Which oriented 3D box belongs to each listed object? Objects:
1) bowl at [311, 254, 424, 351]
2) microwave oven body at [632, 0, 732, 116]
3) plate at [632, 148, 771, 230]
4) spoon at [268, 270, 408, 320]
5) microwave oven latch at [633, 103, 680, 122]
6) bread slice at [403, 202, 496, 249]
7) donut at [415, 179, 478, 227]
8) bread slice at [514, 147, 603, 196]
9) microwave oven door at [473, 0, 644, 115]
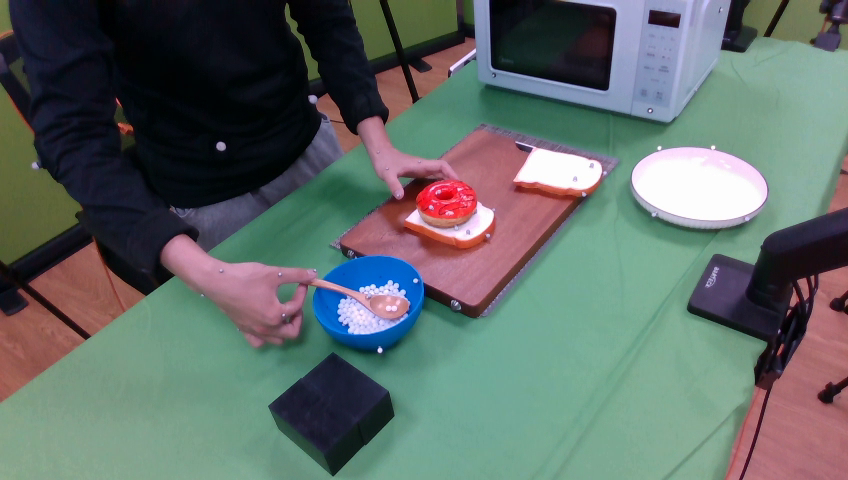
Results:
[{"bbox_3d":[-0.071,0.098,0.821,0.151,0.077,0.150,-4,40,4],"label":"bowl"},{"bbox_3d":[0.377,-0.462,1.267,0.438,0.261,0.327,21,49,30],"label":"microwave oven body"},{"bbox_3d":[0.447,-0.081,0.988,0.207,0.039,0.206,-4,40,4],"label":"plate"},{"bbox_3d":[-0.116,0.068,0.813,0.194,0.021,0.041,18,46,0],"label":"spoon"},{"bbox_3d":[0.444,-0.249,1.157,0.078,0.029,0.030,21,49,30],"label":"microwave oven latch"},{"bbox_3d":[0.048,-0.034,0.961,0.130,0.019,0.105,22,49,32],"label":"bread slice"},{"bbox_3d":[0.036,-0.058,0.944,0.099,0.048,0.098,-5,39,4],"label":"donut"},{"bbox_3d":[0.233,-0.115,1.026,0.133,0.018,0.107,13,45,20],"label":"bread slice"},{"bbox_3d":[0.257,-0.396,1.199,0.353,0.245,0.039,21,48,29],"label":"microwave oven door"}]
